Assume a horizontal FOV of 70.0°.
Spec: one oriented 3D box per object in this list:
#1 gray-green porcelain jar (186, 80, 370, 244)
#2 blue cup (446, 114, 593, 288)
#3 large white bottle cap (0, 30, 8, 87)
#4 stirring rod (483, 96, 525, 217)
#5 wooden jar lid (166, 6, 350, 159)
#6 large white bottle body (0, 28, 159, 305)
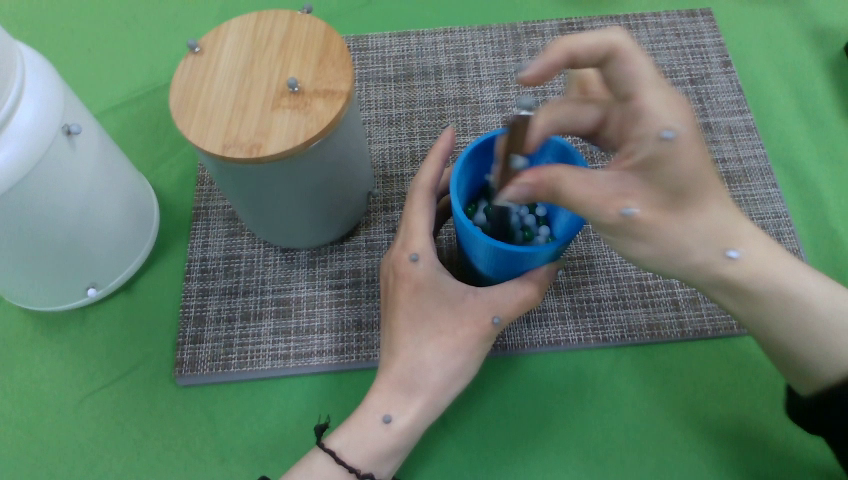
[{"bbox_3d":[-0.094,-0.064,0.417,0.106,0.127,0.105,-1,64,2],"label":"gray-green porcelain jar"},{"bbox_3d":[0.055,-0.013,0.395,0.092,0.101,0.092,0,65,0],"label":"blue cup"},{"bbox_3d":[-0.276,-0.084,0.311,0.115,0.018,0.114,-1,64,2],"label":"large white bottle cap"},{"bbox_3d":[0.038,-0.025,0.323,0.014,0.177,0.006,-44,74,-12],"label":"stirring rod"},{"bbox_3d":[-0.097,-0.092,0.360,0.108,0.021,0.107,-2,65,5],"label":"wooden jar lid"},{"bbox_3d":[-0.272,-0.047,0.387,0.130,0.186,0.129,-1,64,2],"label":"large white bottle body"}]
